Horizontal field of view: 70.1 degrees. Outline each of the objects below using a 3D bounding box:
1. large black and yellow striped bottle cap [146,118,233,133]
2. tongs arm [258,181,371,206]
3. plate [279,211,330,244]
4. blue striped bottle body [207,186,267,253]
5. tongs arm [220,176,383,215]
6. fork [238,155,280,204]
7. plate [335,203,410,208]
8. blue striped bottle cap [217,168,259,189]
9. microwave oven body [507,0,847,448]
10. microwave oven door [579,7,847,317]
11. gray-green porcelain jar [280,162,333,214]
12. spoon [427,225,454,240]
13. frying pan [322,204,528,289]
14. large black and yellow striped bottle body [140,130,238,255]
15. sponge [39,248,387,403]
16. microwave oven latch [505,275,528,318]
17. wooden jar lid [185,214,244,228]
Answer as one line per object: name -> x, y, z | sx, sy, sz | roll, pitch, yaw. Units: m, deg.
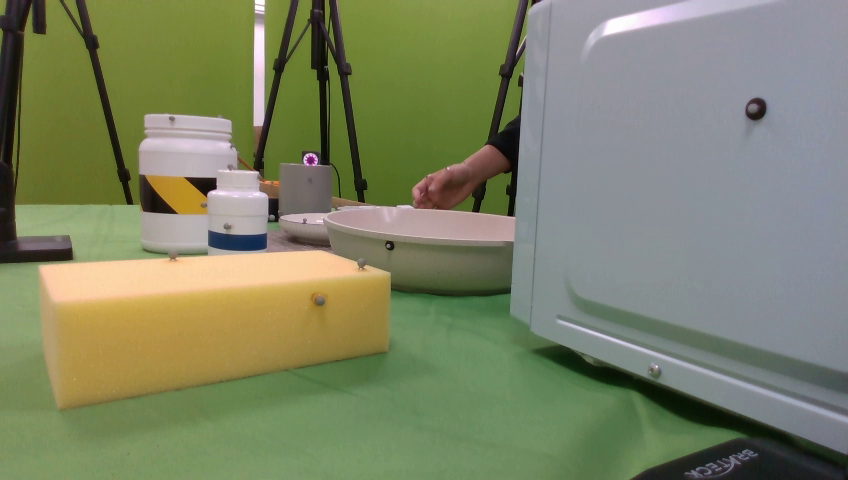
large black and yellow striped bottle cap -> -0.333, -0.163, 0.861 | 0.115, 0.019, 0.115 | 1, 9, 0
tongs arm -> -0.241, -0.095, 1.373 | 0.387, 0.026, 0.050 | 9, 0, -37
plate -> -0.139, -0.022, 1.021 | 0.209, 0.038, 0.209 | 2, 8, 0
blue striped bottle body -> -0.204, -0.016, 0.663 | 0.063, 0.120, 0.063 | 2, 7, 0
tongs arm -> -0.285, -0.105, 1.445 | 0.389, 0.027, 0.028 | 9, -4, -23
fork -> -0.396, -0.143, 1.486 | 0.028, 0.018, 0.208 | 20, -26, 45
plate -> -0.089, -0.053, 1.309 | 0.208, 0.039, 0.207 | 2, 8, 0
blue striped bottle cap -> -0.202, -0.067, 0.657 | 0.044, 0.020, 0.044 | 0, 10, 0
microwave oven body -> 0.331, -0.042, 0.425 | 0.444, 0.260, 0.324 | -2, 8, -31
microwave oven door -> 0.294, -0.067, 0.570 | 0.358, 0.243, 0.039 | -3, 9, -31
gray-green porcelain jar -> -0.238, -0.092, 1.221 | 0.106, 0.126, 0.106 | 2, 7, 0
spoon -> 0.024, -0.019, 1.124 | 0.042, 0.021, 0.193 | -16, 9, -5
frying pan -> 0.109, -0.018, 0.800 | 0.490, 0.102, 0.305 | -12, 16, -30
large black and yellow striped bottle body -> -0.336, -0.078, 0.872 | 0.131, 0.184, 0.130 | 2, 8, 0
sponge -> -0.142, 0.047, 0.420 | 0.208, 0.061, 0.117 | -3, 8, -37
microwave oven latch -> 0.100, 0.041, 0.472 | 0.079, 0.029, 0.030 | -2, 8, -30
wooden jar lid -> -0.404, -0.037, 1.169 | 0.108, 0.020, 0.108 | 3, 7, 0
